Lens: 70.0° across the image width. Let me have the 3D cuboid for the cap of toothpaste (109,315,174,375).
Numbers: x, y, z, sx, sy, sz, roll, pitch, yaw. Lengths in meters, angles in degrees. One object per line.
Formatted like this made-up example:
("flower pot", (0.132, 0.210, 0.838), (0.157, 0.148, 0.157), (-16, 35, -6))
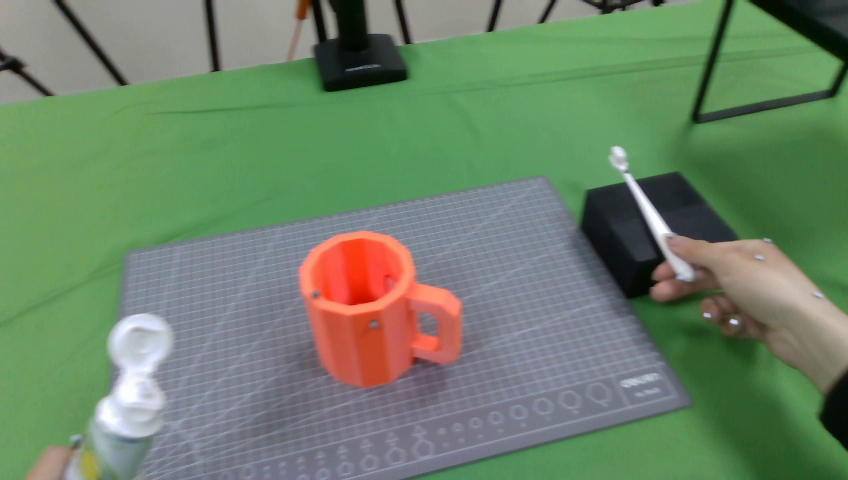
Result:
("cap of toothpaste", (-0.166, 0.062, 0.358), (0.037, 0.037, 0.011), (-39, 22, -30))

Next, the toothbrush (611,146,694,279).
("toothbrush", (0.206, -0.032, 0.553), (0.014, 0.017, 0.180), (-5, 43, -3))

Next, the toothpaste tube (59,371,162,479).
("toothpaste tube", (-0.200, 0.145, 0.362), (0.054, 0.165, 0.035), (39, 16, 30))

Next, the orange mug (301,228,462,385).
("orange mug", (-0.031, 0.057, 0.483), (0.126, 0.102, 0.083), (9, 46, 17))
